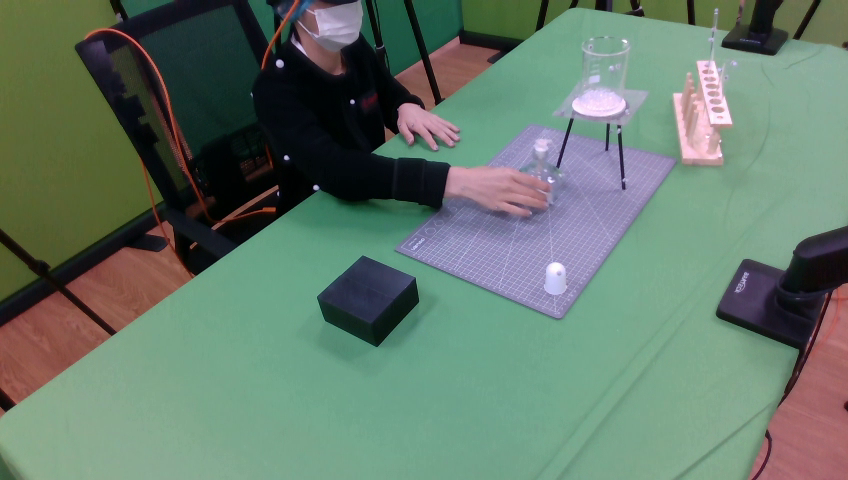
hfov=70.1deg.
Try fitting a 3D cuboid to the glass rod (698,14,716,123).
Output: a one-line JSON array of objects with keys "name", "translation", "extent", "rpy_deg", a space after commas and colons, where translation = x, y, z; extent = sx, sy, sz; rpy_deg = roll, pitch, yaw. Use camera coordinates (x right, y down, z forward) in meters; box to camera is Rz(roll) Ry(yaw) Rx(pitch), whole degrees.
[{"name": "glass rod", "translation": [0.531, -0.320, 1.136], "extent": [0.008, 0.200, 0.008], "rpy_deg": [3, 12, 0]}]

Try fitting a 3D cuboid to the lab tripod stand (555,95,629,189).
[{"name": "lab tripod stand", "translation": [0.300, -0.174, 1.045], "extent": [0.148, 0.132, 0.147], "rpy_deg": [-5, 38, 5]}]

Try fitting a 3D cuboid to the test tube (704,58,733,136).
[{"name": "test tube", "translation": [0.516, -0.247, 1.062], "extent": [0.017, 0.151, 0.017], "rpy_deg": [-3, 43, 4]}]

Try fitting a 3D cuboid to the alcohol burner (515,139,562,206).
[{"name": "alcohol burner", "translation": [0.192, -0.118, 1.010], "extent": [0.078, 0.119, 0.077], "rpy_deg": [-3, 39, 3]}]

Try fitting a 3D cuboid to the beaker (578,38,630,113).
[{"name": "beaker", "translation": [0.290, -0.265, 0.976], "extent": [0.084, 0.100, 0.073], "rpy_deg": [-18, 41, -14]}]

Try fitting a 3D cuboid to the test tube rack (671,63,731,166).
[{"name": "test tube rack", "translation": [0.513, -0.241, 1.132], "extent": [0.066, 0.085, 0.242], "rpy_deg": [4, 41, 14]}]

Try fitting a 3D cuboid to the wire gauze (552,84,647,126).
[{"name": "wire gauze", "translation": [0.293, -0.224, 1.004], "extent": [0.120, 0.011, 0.125], "rpy_deg": [19, 43, 26]}]

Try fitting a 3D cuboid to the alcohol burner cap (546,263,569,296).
[{"name": "alcohol burner cap", "translation": [0.191, 0.053, 0.862], "extent": [0.034, 0.048, 0.033], "rpy_deg": [-5, 40, 4]}]
